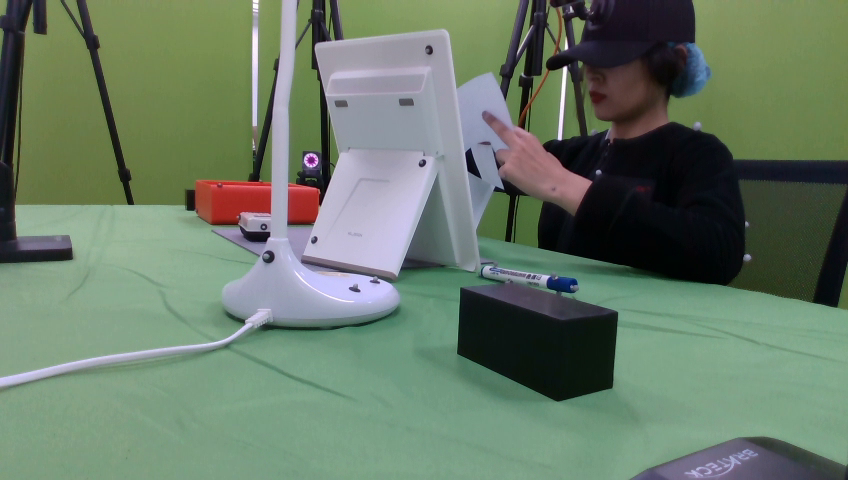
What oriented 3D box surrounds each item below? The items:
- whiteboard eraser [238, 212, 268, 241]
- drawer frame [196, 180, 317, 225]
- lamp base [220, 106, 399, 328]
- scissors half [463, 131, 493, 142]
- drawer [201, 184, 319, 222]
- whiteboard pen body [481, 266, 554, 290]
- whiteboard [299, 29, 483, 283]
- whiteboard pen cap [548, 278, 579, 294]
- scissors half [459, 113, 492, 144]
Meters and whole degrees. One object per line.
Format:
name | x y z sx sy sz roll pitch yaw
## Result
whiteboard eraser | -0.272 -0.023 0.998 0.056 0.042 0.112 -2 9 -24
drawer frame | -0.359 -0.083 1.292 0.215 0.082 0.200 -2 10 -30
lamp base | -0.102 -0.023 0.531 0.160 0.180 0.179 4 10 10
scissors half | 0.067 -0.177 1.064 0.013 0.040 0.174 32 -10 -32
drawer | -0.353 -0.082 1.295 0.213 0.073 0.193 -2 9 -28
whiteboard pen body | 0.115 0.045 0.695 0.017 0.017 0.140 -3 6 -35
whiteboard | -0.074 -0.082 0.742 0.216 0.305 0.144 9 29 38
whiteboard pen cap | 0.148 0.049 0.647 0.018 0.018 0.033 -3 3 -35
scissors half | 0.079 -0.194 1.064 0.013 0.040 0.174 38 8 -32
